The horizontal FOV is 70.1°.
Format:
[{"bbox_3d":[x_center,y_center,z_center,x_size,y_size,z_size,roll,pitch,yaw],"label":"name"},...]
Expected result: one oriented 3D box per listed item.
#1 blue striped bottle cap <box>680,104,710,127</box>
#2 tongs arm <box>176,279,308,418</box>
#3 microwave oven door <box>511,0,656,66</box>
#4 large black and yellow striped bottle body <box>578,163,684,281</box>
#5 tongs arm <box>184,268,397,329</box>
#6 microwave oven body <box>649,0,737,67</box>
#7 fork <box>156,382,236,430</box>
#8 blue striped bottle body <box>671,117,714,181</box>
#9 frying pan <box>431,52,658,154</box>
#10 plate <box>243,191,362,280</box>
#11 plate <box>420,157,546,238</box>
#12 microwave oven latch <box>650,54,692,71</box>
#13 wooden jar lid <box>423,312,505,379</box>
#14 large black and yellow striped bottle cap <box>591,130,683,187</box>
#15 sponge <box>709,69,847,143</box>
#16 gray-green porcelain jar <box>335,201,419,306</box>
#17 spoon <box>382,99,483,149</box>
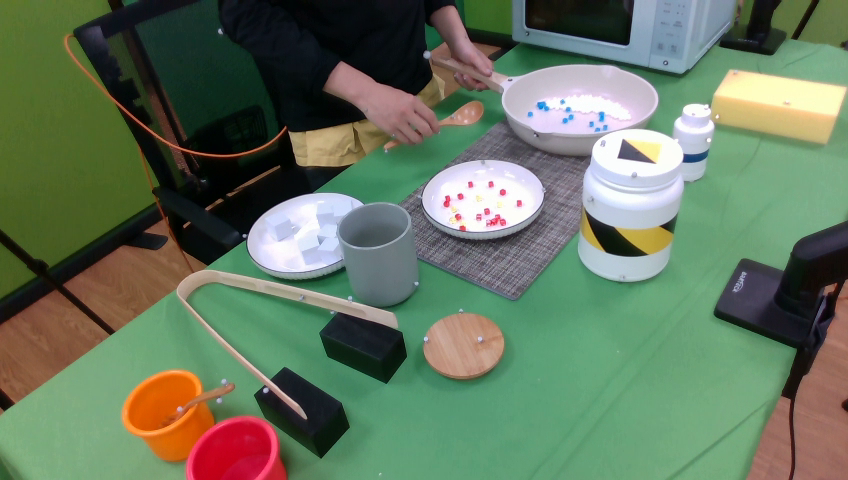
[{"bbox_3d":[0.443,-0.205,0.989,0.044,0.021,0.044,-1,41,2],"label":"blue striped bottle cap"},{"bbox_3d":[-0.255,0.132,0.801,0.028,0.028,0.384,-41,40,-23],"label":"tongs arm"},{"bbox_3d":[0.351,-0.539,1.349,0.353,0.245,0.039,24,50,31],"label":"microwave oven door"},{"bbox_3d":[0.291,-0.046,0.859,0.131,0.185,0.130,-4,41,4],"label":"large black and yellow striped bottle body"},{"bbox_3d":[-0.202,0.084,0.848,0.382,0.027,0.051,11,44,35],"label":"tongs arm"},{"bbox_3d":[0.475,-0.602,1.411,0.438,0.261,0.327,23,50,32],"label":"microwave oven body"},{"bbox_3d":[-0.262,0.189,0.690,0.018,0.206,0.028,48,43,-7],"label":"fork"},{"bbox_3d":[0.449,-0.165,1.022,0.063,0.121,0.063,-5,41,4],"label":"blue striped bottle body"},{"bbox_3d":[0.216,-0.302,1.223,0.484,0.103,0.308,29,50,24],"label":"frying pan"},{"bbox_3d":[-0.188,-0.005,0.992,0.207,0.039,0.206,-4,40,4],"label":"plate"},{"bbox_3d":[0.099,-0.067,1.017,0.209,0.038,0.208,-4,40,4],"label":"plate"},{"bbox_3d":[0.531,-0.386,1.301,0.078,0.029,0.030,25,51,32],"label":"microwave oven latch"},{"bbox_3d":[0.053,0.142,0.800,0.108,0.021,0.108,-5,39,4],"label":"wooden jar lid"},{"bbox_3d":[0.282,-0.111,0.803,0.115,0.019,0.114,-3,41,3],"label":"large black and yellow striped bottle cap"},{"bbox_3d":[0.663,-0.256,1.141,0.205,0.061,0.118,18,47,28],"label":"sponge"},{"bbox_3d":[-0.064,0.024,0.872,0.106,0.127,0.105,-4,41,4],"label":"gray-green porcelain jar"},{"bbox_3d":[0.014,-0.205,1.077,0.194,0.022,0.041,-20,69,-1],"label":"spoon"}]
